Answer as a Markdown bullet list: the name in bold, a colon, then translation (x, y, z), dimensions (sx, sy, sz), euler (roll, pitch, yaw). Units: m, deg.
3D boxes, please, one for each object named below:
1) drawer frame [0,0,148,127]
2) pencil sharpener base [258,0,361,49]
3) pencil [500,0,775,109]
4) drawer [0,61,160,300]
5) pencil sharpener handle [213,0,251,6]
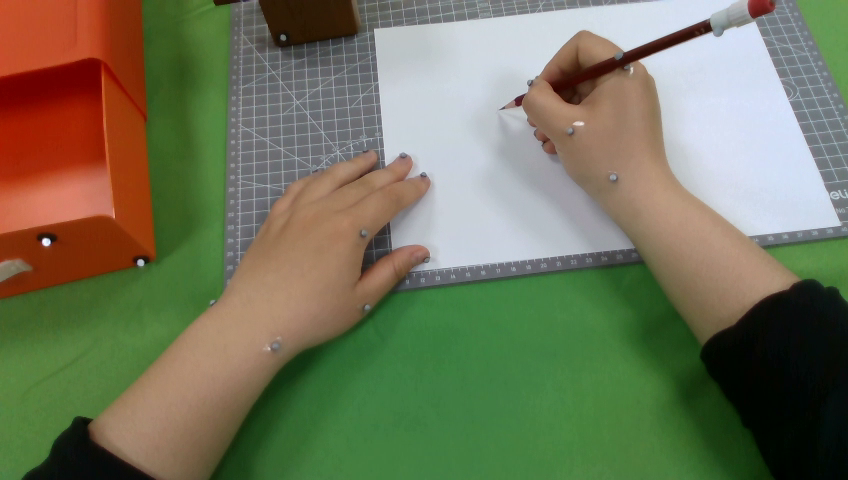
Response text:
- **drawer frame**: translation (-0.324, -0.167, 0.454), dimensions (0.202, 0.083, 0.211), euler (-14, 65, -3)
- **pencil sharpener base**: translation (-0.094, -0.201, 0.444), dimensions (0.077, 0.108, 0.061), euler (-12, 65, -2)
- **pencil**: translation (0.110, -0.104, 0.364), dimensions (0.012, 0.193, 0.012), euler (3, 83, -34)
- **drawer**: translation (-0.295, -0.063, 0.409), dimensions (0.194, 0.074, 0.210), euler (-14, 66, -3)
- **pencil sharpener handle**: translation (-0.145, -0.195, 0.430), dimensions (0.030, 0.068, 0.035), euler (-12, 63, -2)
